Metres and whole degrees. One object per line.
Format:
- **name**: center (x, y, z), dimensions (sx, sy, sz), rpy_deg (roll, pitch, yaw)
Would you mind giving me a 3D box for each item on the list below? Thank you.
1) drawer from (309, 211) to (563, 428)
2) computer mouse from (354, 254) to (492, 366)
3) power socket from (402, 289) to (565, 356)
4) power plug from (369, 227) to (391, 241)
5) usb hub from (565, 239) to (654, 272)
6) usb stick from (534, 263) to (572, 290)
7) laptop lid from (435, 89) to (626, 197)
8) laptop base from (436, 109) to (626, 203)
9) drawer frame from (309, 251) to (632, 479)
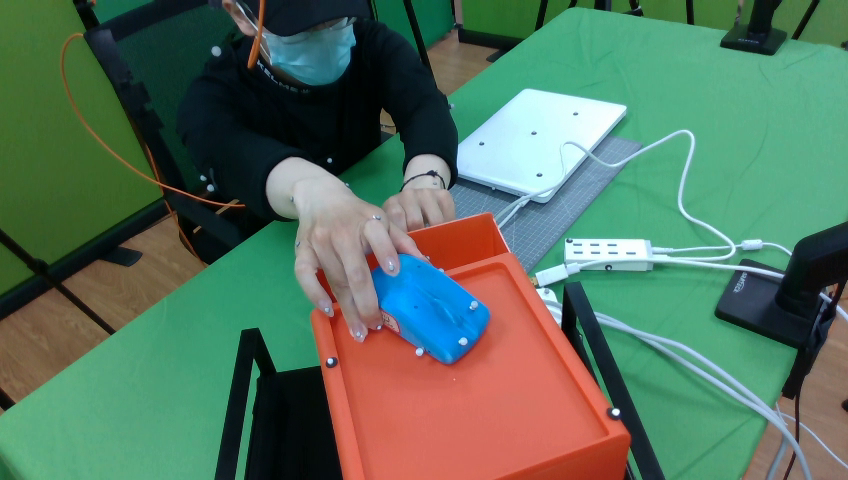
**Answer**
- **drawer**: center (0.006, 0.078, 0.555), dimensions (0.195, 0.073, 0.210), rpy_deg (-13, 40, -8)
- **computer mouse**: center (-0.002, 0.054, 0.510), dimensions (0.116, 0.041, 0.063), rpy_deg (30, 55, 26)
- **power socket**: center (0.081, 0.112, 0.822), dimensions (0.227, 0.033, 0.072), rpy_deg (-7, 41, -1)
- **power plug**: center (-0.064, 0.008, 0.956), dimensions (0.035, 0.053, 0.072), rpy_deg (-29, 52, 3)
- **usb hub**: center (0.275, 0.022, 0.906), dimensions (0.125, 0.025, 0.049), rpy_deg (1, 41, 9)
- **usb stick**: center (0.183, 0.056, 0.875), dimensions (0.059, 0.021, 0.027), rpy_deg (-30, 2, -6)
- **laptop lid**: center (0.211, -0.202, 1.165), dimensions (0.240, 0.013, 0.358), rpy_deg (21, 47, 32)
- **laptop base**: center (0.214, -0.193, 1.172), dimensions (0.233, 0.023, 0.355), rpy_deg (19, 46, 32)
- **drawer frame**: center (0.025, 0.123, 0.500), dimensions (0.202, 0.083, 0.212), rpy_deg (-16, 41, -9)
